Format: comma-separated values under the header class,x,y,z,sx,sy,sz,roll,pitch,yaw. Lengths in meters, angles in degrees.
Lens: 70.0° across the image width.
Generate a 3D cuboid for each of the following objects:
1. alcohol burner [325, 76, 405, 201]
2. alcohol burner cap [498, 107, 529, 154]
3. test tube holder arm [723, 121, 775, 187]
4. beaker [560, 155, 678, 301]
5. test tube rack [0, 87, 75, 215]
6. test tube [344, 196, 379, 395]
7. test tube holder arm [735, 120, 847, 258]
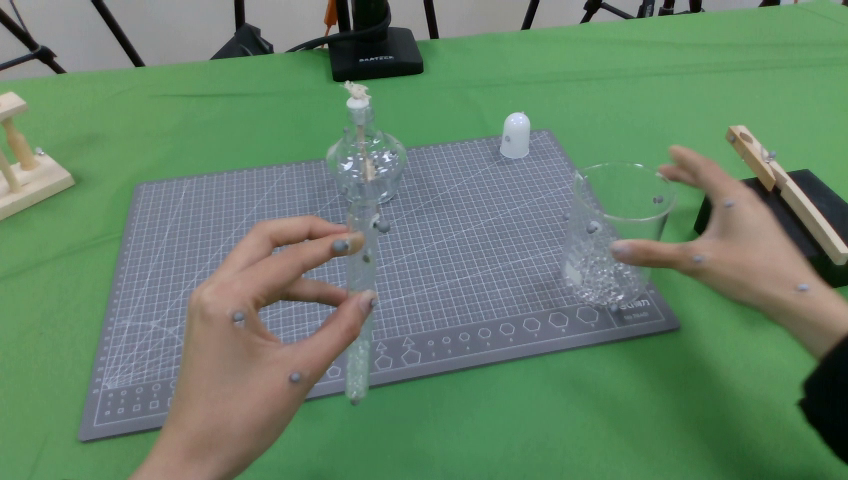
class,x,y,z,sx,sy,sz,roll,pitch,yaw
alcohol burner,-0.058,-0.097,0.573,0.078,0.120,0.077,-2,42,2
alcohol burner cap,0.096,-0.119,0.645,0.034,0.048,0.033,0,43,1
test tube holder arm,0.298,-0.080,0.552,0.010,0.015,0.087,-12,44,1
beaker,0.147,-0.007,0.484,0.074,0.101,0.083,-31,50,-28
test tube rack,-0.467,-0.046,0.552,0.066,0.086,0.242,31,52,29
test tube,-0.036,0.039,0.337,0.017,0.151,0.017,4,41,-3
test tube holder arm,0.310,-0.050,0.520,0.013,0.015,0.176,-12,44,0
